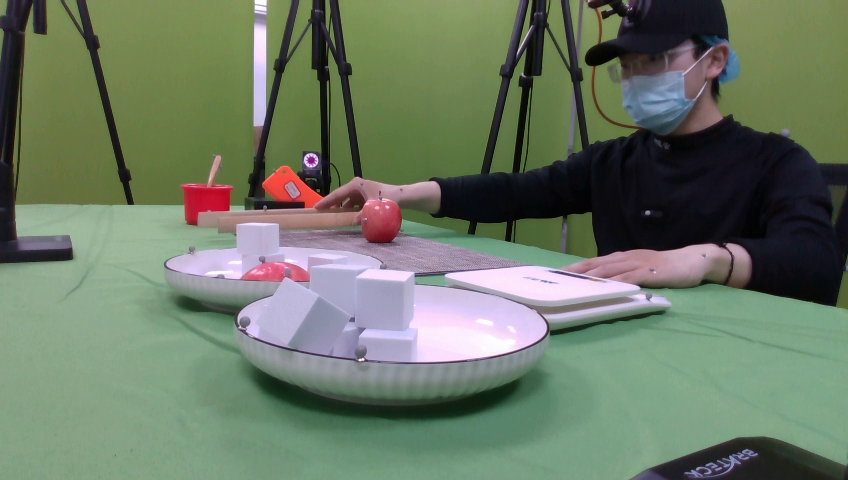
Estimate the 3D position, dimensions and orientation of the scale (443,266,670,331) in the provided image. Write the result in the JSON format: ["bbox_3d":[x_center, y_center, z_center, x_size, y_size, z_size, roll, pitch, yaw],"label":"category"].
[{"bbox_3d":[0.131,0.052,0.603,0.202,0.031,0.148,-2,9,-37],"label":"scale"}]

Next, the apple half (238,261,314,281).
[{"bbox_3d":[-0.141,0.036,0.578,0.081,0.033,0.081,2,11,0],"label":"apple half"}]

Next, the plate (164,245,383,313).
[{"bbox_3d":[-0.145,0.038,0.600,0.209,0.038,0.209,2,8,0],"label":"plate"}]

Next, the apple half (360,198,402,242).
[{"bbox_3d":[-0.066,-0.032,1.014,0.053,0.074,0.081,9,6,21],"label":"apple half"}]

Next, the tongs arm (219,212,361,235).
[{"bbox_3d":[-0.178,-0.035,1.053,0.028,0.028,0.390,7,10,42],"label":"tongs arm"}]

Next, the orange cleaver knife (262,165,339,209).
[{"bbox_3d":[-0.243,-0.081,1.292,0.212,0.077,0.012,34,-8,-26],"label":"orange cleaver knife"}]

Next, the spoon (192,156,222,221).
[{"bbox_3d":[-0.430,-0.108,1.222,0.041,0.021,0.193,-1,52,0],"label":"spoon"}]

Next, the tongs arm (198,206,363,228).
[{"bbox_3d":[-0.207,-0.042,1.081,0.050,0.026,0.387,12,13,42],"label":"tongs arm"}]

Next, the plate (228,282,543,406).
[{"bbox_3d":[-0.025,0.067,0.413,0.208,0.039,0.207,3,7,0],"label":"plate"}]
